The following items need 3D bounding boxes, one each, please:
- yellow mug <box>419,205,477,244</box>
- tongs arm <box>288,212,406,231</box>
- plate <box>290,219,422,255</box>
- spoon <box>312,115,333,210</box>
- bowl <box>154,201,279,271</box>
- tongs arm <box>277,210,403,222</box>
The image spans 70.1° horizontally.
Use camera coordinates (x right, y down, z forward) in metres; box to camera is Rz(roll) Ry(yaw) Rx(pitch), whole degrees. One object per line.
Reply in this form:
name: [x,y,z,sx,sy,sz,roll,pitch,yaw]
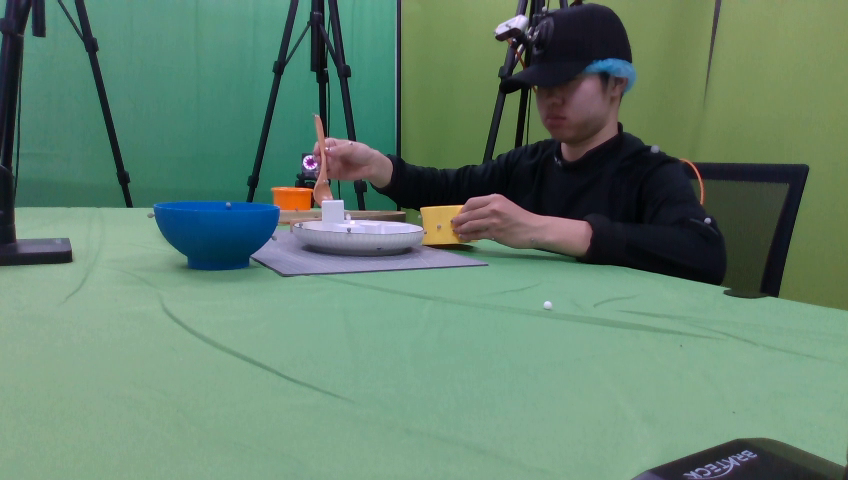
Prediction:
yellow mug: [0.050,-0.027,1.041,0.100,0.064,0.130,-4,3,-29]
tongs arm: [-0.145,-0.041,1.280,0.028,0.028,0.389,2,5,33]
plate: [-0.108,-0.005,0.963,0.208,0.039,0.207,2,7,0]
spoon: [-0.179,-0.137,1.054,0.042,0.193,0.021,15,-29,-42]
bowl: [-0.263,-0.005,0.773,0.151,0.077,0.151,3,8,0]
tongs arm: [-0.206,-0.052,1.332,0.387,0.026,0.050,-2,8,-44]
